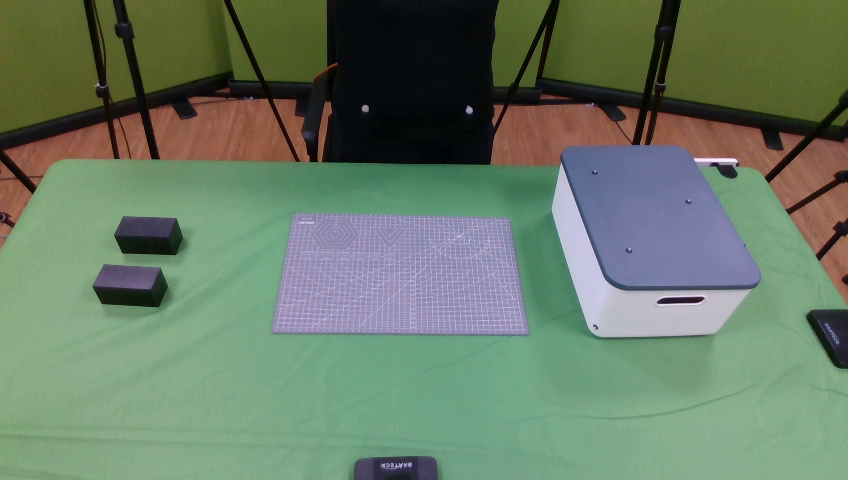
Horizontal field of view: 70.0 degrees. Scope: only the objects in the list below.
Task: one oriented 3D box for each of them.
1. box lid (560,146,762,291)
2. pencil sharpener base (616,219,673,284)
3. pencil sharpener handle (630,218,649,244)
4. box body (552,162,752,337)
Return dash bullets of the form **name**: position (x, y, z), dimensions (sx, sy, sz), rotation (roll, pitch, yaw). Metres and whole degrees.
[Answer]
- **box lid**: position (0.404, -0.052, 1.076), dimensions (0.263, 0.015, 0.369), rotation (-1, 45, -5)
- **pencil sharpener base**: position (0.412, 0.021, 1.140), dimensions (0.061, 0.107, 0.076), rotation (-4, 44, -6)
- **pencil sharpener handle**: position (0.409, -0.024, 1.167), dimensions (0.036, 0.068, 0.030), rotation (-10, 44, 0)
- **box body**: position (0.401, -0.001, 1.131), dimensions (0.254, 0.161, 0.361), rotation (-1, 46, -5)
